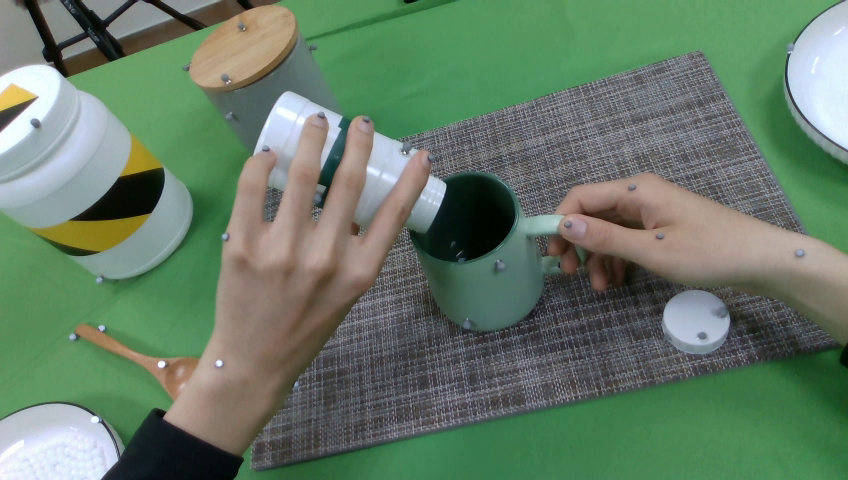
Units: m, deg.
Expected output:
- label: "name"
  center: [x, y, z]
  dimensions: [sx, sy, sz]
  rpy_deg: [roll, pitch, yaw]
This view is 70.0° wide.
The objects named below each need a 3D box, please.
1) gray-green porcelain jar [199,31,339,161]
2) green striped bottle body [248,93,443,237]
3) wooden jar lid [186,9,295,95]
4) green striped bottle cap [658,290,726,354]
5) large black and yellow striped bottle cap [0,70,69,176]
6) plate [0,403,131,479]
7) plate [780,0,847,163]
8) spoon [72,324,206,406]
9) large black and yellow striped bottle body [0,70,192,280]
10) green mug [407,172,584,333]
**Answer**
- label: "gray-green porcelain jar"
  center: [-0.147, -0.132, 0.600]
  dimensions: [0.105, 0.128, 0.105]
  rpy_deg: [-9, 52, 13]
- label: "green striped bottle body"
  center: [-0.049, -0.044, 0.402]
  dimensions: [0.120, 0.063, 0.063]
  rpy_deg: [24, 63, -10]
- label: "wooden jar lid"
  center: [-0.164, -0.168, 0.552]
  dimensions: [0.108, 0.021, 0.107]
  rpy_deg: [-11, 55, 16]
- label: "green striped bottle cap"
  center: [0.191, 0.058, 0.433]
  dimensions: [0.044, 0.020, 0.044]
  rpy_deg: [-9, 50, 11]
- label: "large black and yellow striped bottle cap"
  center: [-0.355, -0.099, 0.512]
  dimensions: [0.115, 0.019, 0.114]
  rpy_deg: [-9, 55, 13]
- label: "plate"
  center: [-0.321, 0.235, 0.480]
  dimensions: [0.209, 0.038, 0.207]
  rpy_deg: [-8, 56, 13]
- label: "plate"
  center: [0.392, -0.123, 0.470]
  dimensions: [0.207, 0.039, 0.205]
  rpy_deg: [-9, 56, 14]
- label: "spoon"
  center: [-0.266, 0.105, 0.554]
  dimensions: [0.192, 0.022, 0.041]
  rpy_deg: [15, 84, 25]
- label: "large black and yellow striped bottle body"
  center: [-0.330, -0.056, 0.580]
  dimensions: [0.130, 0.186, 0.129]
  rpy_deg: [-8, 57, 13]
- label: "green mug"
  center: [0.055, 0.009, 0.453]
  dimensions: [0.125, 0.106, 0.091]
  rpy_deg: [-8, 56, 14]
